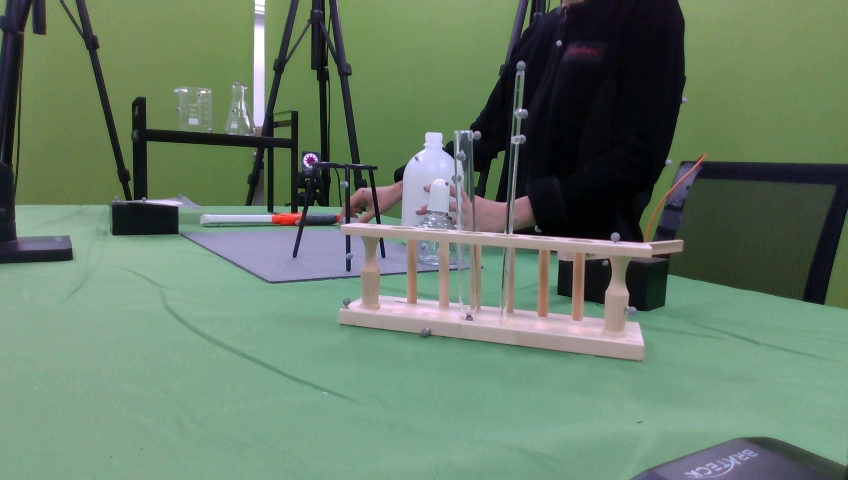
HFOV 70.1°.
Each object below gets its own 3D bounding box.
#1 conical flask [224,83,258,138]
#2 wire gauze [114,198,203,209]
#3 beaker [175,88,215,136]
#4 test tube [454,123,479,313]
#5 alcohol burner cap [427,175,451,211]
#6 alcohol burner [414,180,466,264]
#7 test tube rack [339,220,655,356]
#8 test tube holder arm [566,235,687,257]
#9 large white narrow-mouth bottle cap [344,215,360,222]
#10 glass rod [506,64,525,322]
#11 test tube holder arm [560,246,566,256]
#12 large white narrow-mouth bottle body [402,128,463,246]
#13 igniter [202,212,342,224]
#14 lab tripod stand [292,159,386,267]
[{"bbox_3d":[-0.422,-0.299,1.395,0.075,0.122,0.075,2,7,0],"label":"conical flask"},{"bbox_3d":[-0.447,-0.062,1.015,0.126,0.011,0.121,-2,8,-31],"label":"wire gauze"},{"bbox_3d":[-0.511,-0.285,1.353,0.084,0.100,0.073,-2,8,-25],"label":"beaker"},{"bbox_3d":[0.034,-0.016,0.477,0.017,0.150,0.017,-2,9,1],"label":"test tube"},{"bbox_3d":[0.023,-0.064,0.822,0.034,0.048,0.034,7,5,0],"label":"alcohol burner cap"},{"bbox_3d":[0.021,-0.028,0.826,0.078,0.119,0.078,0,6,0],"label":"alcohol burner"},{"bbox_3d":[0.056,0.032,0.495,0.242,0.085,0.067,4,7,15],"label":"test tube rack"},{"bbox_3d":[0.215,0.006,0.630,0.179,0.015,0.013,-3,9,-31],"label":"test tube holder arm"},{"bbox_3d":[-0.147,-0.039,1.233,0.038,0.024,0.037,2,8,0],"label":"large white narrow-mouth bottle cap"},{"bbox_3d":[0.069,-0.030,0.458,0.008,0.199,0.008,0,15,0],"label":"glass rod"},{"bbox_3d":[0.173,0.007,0.612,0.088,0.015,0.010,-3,9,-30],"label":"test tube holder arm"},{"bbox_3d":[0.015,-0.092,1.031,0.102,0.194,0.102,2,8,0],"label":"large white narrow-mouth bottle body"},{"bbox_3d":[-0.298,-0.044,1.216,0.278,0.025,0.057,-2,-2,-33],"label":"igniter"},{"bbox_3d":[-0.105,-0.039,0.798,0.148,0.131,0.148,2,5,0],"label":"lab tripod stand"}]
